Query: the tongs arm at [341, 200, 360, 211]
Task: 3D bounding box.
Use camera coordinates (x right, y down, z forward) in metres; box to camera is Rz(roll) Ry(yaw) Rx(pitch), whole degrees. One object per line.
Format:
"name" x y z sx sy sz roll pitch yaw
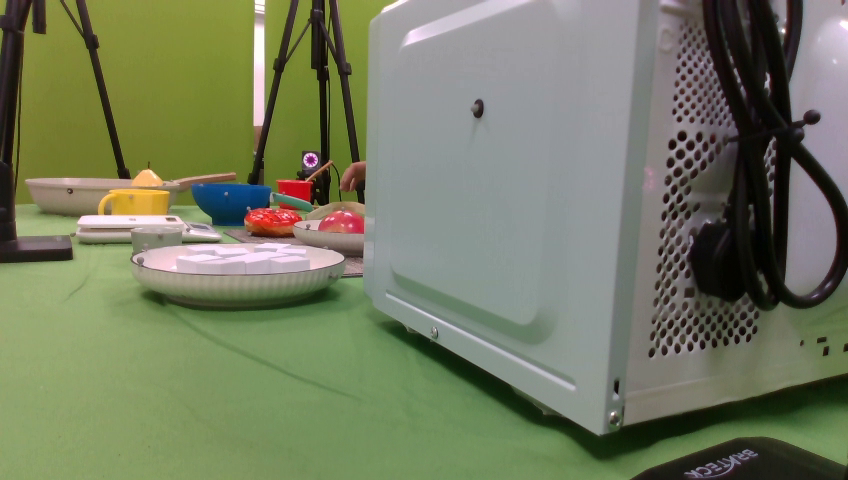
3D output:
"tongs arm" -0.149 -0.069 1.429 0.051 0.026 0.383 -6 9 -14

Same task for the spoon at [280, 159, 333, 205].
"spoon" -0.316 -0.159 1.640 0.194 0.022 0.041 -50 32 -20

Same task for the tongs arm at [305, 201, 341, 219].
"tongs arm" -0.235 -0.064 1.415 0.028 0.028 0.387 -7 8 1

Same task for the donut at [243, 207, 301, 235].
"donut" -0.261 -0.032 1.043 0.099 0.048 0.099 4 9 0

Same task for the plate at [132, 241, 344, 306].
"plate" -0.187 0.033 0.625 0.208 0.039 0.207 2 8 0

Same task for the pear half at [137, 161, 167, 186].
"pear half" -0.602 -0.120 1.354 0.056 0.110 0.076 4 11 6

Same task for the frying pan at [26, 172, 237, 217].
"frying pan" -0.624 -0.118 1.387 0.305 0.102 0.490 8 17 32

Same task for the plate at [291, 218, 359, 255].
"plate" -0.098 -0.007 0.928 0.209 0.038 0.209 2 8 0

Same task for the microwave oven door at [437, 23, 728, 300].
"microwave oven door" 0.180 -0.072 0.621 0.358 0.243 0.039 -2 8 -29

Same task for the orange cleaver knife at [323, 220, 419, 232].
"orange cleaver knife" -0.096 -0.027 1.152 0.077 0.012 0.212 2 6 41

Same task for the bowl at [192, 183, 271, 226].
"bowl" -0.382 -0.071 1.202 0.151 0.077 0.151 3 7 0

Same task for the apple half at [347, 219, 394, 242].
"apple half" -0.084 -0.018 0.967 0.081 0.033 0.081 6 10 -1

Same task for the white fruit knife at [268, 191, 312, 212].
"white fruit knife" -0.364 -0.105 1.464 0.208 0.027 0.016 15 0 -34

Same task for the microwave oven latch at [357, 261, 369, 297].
"microwave oven latch" -0.019 0.033 0.531 0.079 0.029 0.030 -1 7 -27

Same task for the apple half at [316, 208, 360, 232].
"apple half" -0.122 -0.020 0.901 0.080 0.053 0.075 4 11 20

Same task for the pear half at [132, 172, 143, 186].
"pear half" -0.638 -0.113 1.361 0.031 0.088 0.070 5 10 4

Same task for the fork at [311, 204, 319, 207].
"fork" -0.356 -0.105 1.526 0.208 0.018 0.028 16 -6 -41

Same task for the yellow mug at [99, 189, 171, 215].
"yellow mug" -0.518 -0.055 1.080 0.099 0.064 0.131 7 9 26

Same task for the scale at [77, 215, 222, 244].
"scale" -0.434 -0.019 0.963 0.202 0.031 0.148 -1 9 -27

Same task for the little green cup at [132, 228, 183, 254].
"little green cup" -0.342 0.006 0.779 0.061 0.038 0.061 2 8 0

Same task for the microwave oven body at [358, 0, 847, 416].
"microwave oven body" 0.211 -0.047 0.474 0.444 0.260 0.324 -1 7 -28
